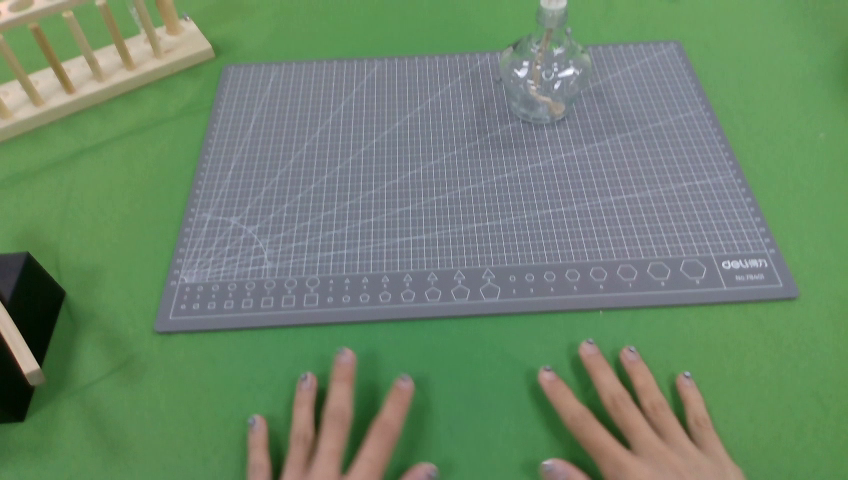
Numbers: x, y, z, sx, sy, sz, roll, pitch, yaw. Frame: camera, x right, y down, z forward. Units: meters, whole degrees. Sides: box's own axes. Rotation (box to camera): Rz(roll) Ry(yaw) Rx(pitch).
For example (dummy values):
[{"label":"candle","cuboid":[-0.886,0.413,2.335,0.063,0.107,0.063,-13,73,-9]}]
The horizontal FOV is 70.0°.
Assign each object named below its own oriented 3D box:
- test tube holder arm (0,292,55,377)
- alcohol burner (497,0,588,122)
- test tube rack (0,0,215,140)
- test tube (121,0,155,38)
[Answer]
[{"label":"test tube holder arm","cuboid":[-0.282,0.027,0.385,0.177,0.015,0.013,35,54,24]},{"label":"alcohol burner","cuboid":[0.101,-0.160,0.505,0.078,0.120,0.077,-1,51,2]},{"label":"test tube rack","cuboid":[-0.331,-0.176,0.558,0.242,0.086,0.066,-29,56,-18]},{"label":"test tube","cuboid":[-0.286,-0.251,0.551,0.017,0.152,0.017,-4,52,6]}]
